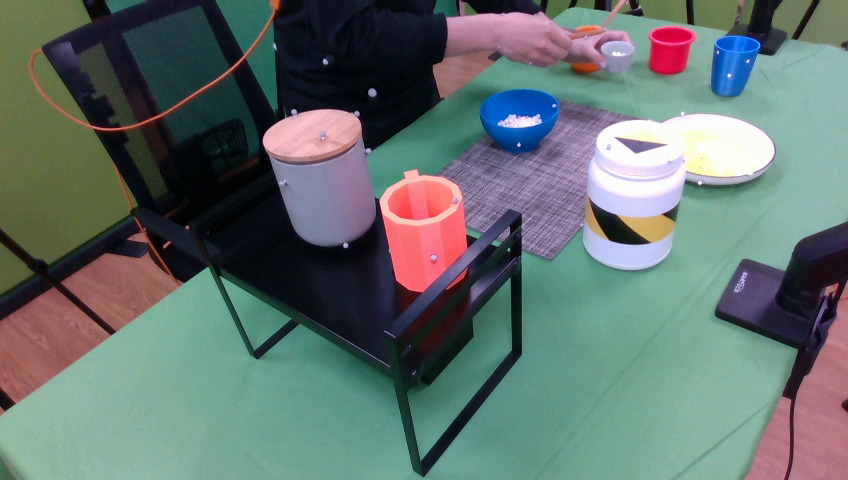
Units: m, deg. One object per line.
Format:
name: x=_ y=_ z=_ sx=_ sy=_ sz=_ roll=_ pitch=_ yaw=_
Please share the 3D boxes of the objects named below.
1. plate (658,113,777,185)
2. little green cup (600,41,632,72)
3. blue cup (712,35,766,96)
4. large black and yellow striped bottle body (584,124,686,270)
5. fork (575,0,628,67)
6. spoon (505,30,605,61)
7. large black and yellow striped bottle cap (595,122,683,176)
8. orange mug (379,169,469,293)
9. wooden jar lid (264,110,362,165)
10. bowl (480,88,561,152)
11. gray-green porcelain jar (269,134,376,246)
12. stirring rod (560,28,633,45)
plate: x=0.506 y=-0.158 z=1.073 sx=0.209 sy=0.038 sz=0.208 roll=-4 pitch=40 yaw=4
little green cup: x=0.372 y=-0.357 z=1.178 sx=0.061 sy=0.039 sz=0.061 roll=-5 pitch=42 yaw=5
blue cup: x=0.627 y=-0.350 z=1.227 sx=0.092 sy=0.100 sz=0.092 roll=-4 pitch=39 yaw=4
large black and yellow striped bottle body: x=0.304 y=-0.063 z=0.880 sx=0.131 sy=0.185 sz=0.130 roll=-5 pitch=41 yaw=5
fork: x=0.413 y=-0.481 z=1.377 sx=0.207 sy=0.019 sz=0.028 roll=-56 pitch=43 yaw=12
spoon: x=0.224 y=-0.340 z=1.053 sx=0.192 sy=0.021 sz=0.042 roll=-5 pitch=4 yaw=44
large black and yellow striped bottle cap: x=0.293 y=-0.126 z=0.826 sx=0.115 sy=0.019 sz=0.114 roll=-3 pitch=40 yaw=3
orange mug: x=-0.002 y=-0.019 z=0.665 sx=0.083 sy=0.101 sz=0.125 roll=-12 pitch=45 yaw=-4
wooden jar lid: x=-0.122 y=-0.112 z=0.673 sx=0.108 sy=0.021 sz=0.108 roll=-4 pitch=37 yaw=4
bowl: x=0.185 y=-0.222 z=1.160 sx=0.151 sy=0.077 sz=0.150 roll=-4 pitch=40 yaw=4
gray-green porcelain jar: x=-0.115 y=-0.064 z=0.715 sx=0.106 sy=0.127 sz=0.105 roll=-4 pitch=40 yaw=4
stirring rod: x=0.381 y=-0.452 z=1.345 sx=0.174 sy=0.006 sz=0.014 roll=26 pitch=51 yaw=33
